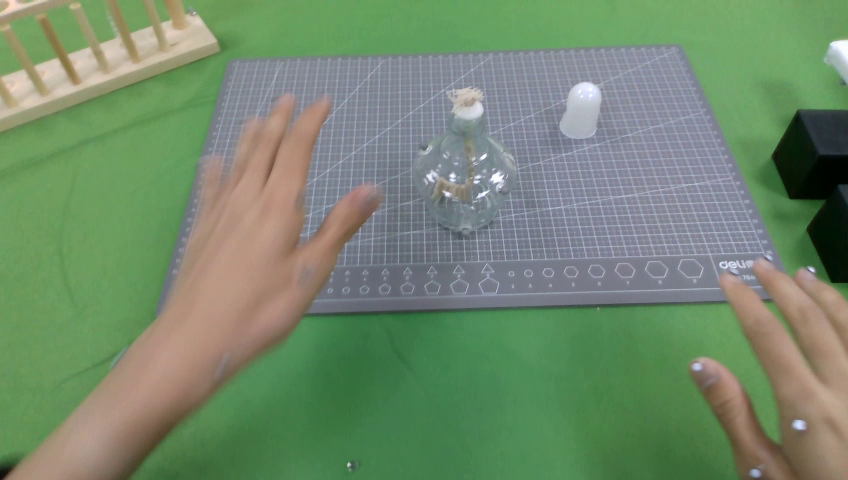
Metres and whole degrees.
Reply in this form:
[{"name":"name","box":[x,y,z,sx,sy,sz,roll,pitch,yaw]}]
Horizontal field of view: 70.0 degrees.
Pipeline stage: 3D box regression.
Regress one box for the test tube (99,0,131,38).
[{"name":"test tube","box":[-0.302,-0.255,0.545,0.017,0.152,0.017,-3,44,4]}]

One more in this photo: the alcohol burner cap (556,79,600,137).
[{"name":"alcohol burner cap","box":[0.133,-0.116,0.518,0.034,0.048,0.033,0,52,0]}]

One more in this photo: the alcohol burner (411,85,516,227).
[{"name":"alcohol burner","box":[0.029,-0.064,0.437,0.078,0.120,0.077,0,54,0]}]

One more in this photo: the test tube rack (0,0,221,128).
[{"name":"test tube rack","box":[-0.327,-0.189,0.562,0.242,0.086,0.066,-27,57,-18]}]

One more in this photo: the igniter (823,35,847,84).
[{"name":"igniter","box":[0.352,-0.059,0.422,0.057,0.025,0.274,-3,51,3]}]
